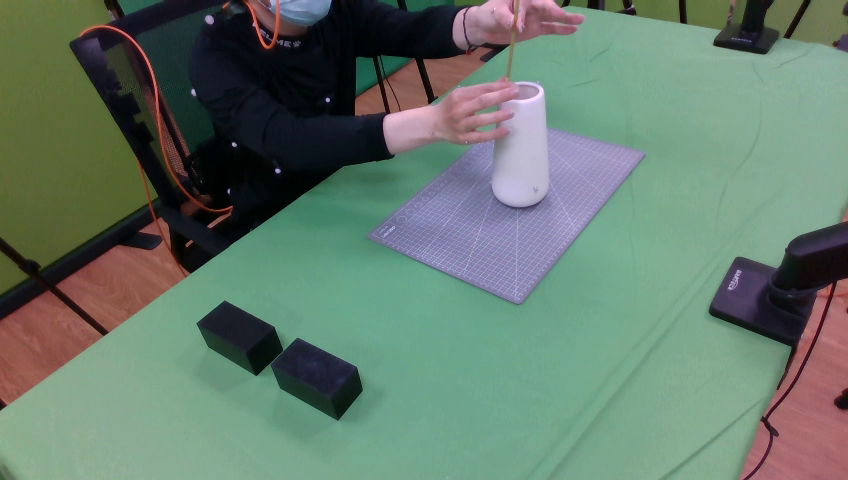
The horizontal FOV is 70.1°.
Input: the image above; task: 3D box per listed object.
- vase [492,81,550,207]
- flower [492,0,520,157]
[{"bbox_3d":[0.159,-0.151,0.982,0.098,0.201,0.097,-3,41,3],"label":"vase"},{"bbox_3d":[0.126,-0.272,0.883,0.044,0.362,0.038,16,44,13],"label":"flower"}]
